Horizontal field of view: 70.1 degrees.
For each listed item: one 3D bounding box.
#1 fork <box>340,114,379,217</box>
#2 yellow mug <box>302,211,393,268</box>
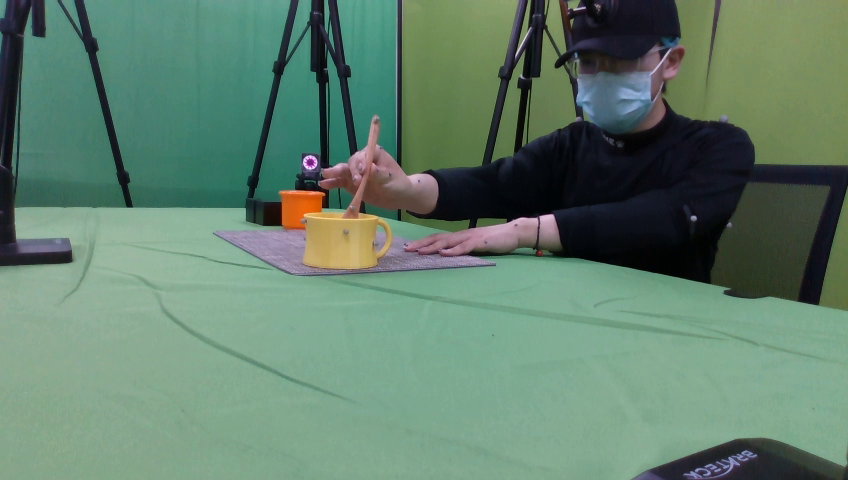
[{"bbox_3d":[-0.086,-0.079,0.806,0.028,0.207,0.018,24,-20,-31],"label":"fork"},{"bbox_3d":[-0.098,-0.003,0.810,0.131,0.064,0.099,-2,8,-37],"label":"yellow mug"}]
